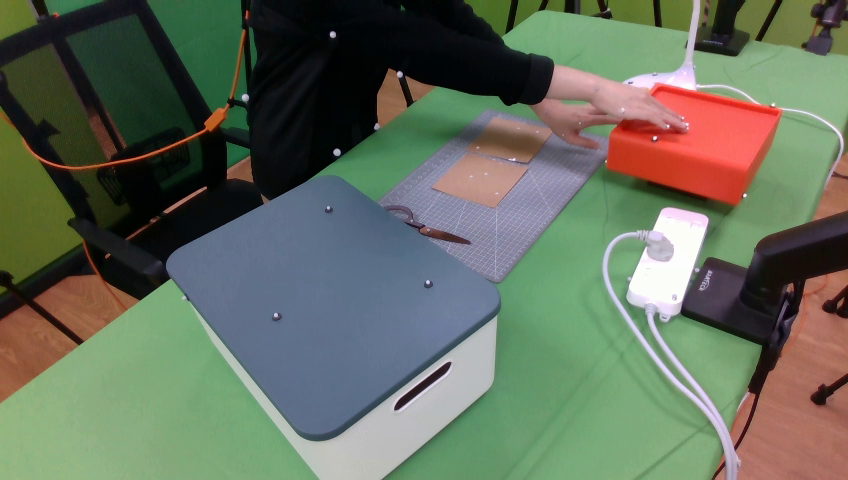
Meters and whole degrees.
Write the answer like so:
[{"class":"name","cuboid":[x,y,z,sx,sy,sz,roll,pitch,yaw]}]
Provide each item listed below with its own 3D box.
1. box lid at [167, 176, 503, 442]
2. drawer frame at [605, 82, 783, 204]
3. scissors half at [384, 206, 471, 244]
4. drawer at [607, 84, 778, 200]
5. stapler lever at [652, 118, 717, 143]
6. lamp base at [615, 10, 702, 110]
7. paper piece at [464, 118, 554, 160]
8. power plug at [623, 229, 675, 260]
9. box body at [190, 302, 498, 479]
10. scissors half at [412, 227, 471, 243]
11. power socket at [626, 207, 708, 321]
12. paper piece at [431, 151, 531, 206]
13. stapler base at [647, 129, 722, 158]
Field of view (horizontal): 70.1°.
[{"class":"box lid","cuboid":[-0.119,0.047,0.714,0.264,0.015,0.368,-32,47,-27]},{"class":"drawer frame","cuboid":[0.441,-0.167,0.995,0.212,0.083,0.202,23,48,30]},{"class":"scissors half","cuboid":[0.001,-0.024,1.005,0.174,0.013,0.040,22,57,25]},{"class":"drawer","cuboid":[0.438,-0.167,0.995,0.210,0.073,0.195,23,48,30]},{"class":"stapler lever","cuboid":[0.436,-0.191,1.014,0.118,0.040,0.026,-16,25,-15]},{"class":"lamp base","cuboid":[0.484,-0.364,1.211,0.180,0.181,0.159,-15,41,-14]},{"class":"paper piece","cuboid":[0.170,-0.201,1.195,0.137,0.009,0.136,16,41,28]},{"class":"power plug","cuboid":[0.327,0.007,0.878,0.072,0.053,0.035,25,51,33]},{"class":"box body","cuboid":[-0.110,0.103,0.761,0.255,0.161,0.361,-33,46,-27]},{"class":"scissors half","cuboid":[-0.007,-0.010,0.993,0.174,0.013,0.040,8,47,15]},{"class":"power socket","cuboid":[0.360,0.026,0.886,0.072,0.033,0.227,16,46,26]},{"class":"paper piece","cuboid":[0.104,-0.116,1.104,0.134,0.004,0.136,21,47,29]},{"class":"stapler base","cuboid":[0.439,-0.167,1.023,0.131,0.024,0.041,-17,25,-15]}]
